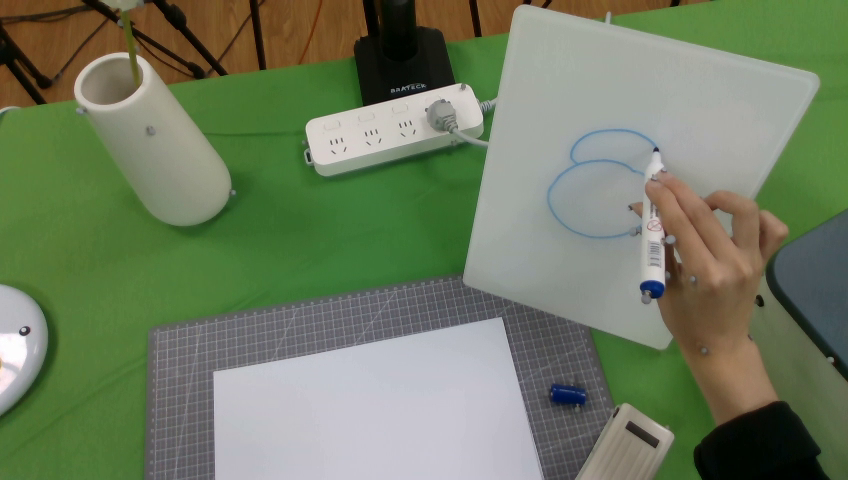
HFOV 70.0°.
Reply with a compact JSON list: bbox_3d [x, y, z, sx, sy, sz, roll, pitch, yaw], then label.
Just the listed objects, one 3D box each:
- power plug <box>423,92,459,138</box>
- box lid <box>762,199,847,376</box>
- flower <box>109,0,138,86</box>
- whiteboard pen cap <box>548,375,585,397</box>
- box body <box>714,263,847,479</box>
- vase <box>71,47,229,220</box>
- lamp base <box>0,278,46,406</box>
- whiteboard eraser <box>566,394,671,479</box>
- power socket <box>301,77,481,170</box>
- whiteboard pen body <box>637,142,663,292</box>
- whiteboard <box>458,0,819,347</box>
[{"bbox_3d":[0.018,-0.138,0.701,0.035,0.053,0.072,-5,69,-1],"label":"power plug"},{"bbox_3d":[0.460,0.095,0.438,0.263,0.015,0.368,-27,66,-10],"label":"box lid"},{"bbox_3d":[-0.258,-0.135,0.549,0.038,0.363,0.044,37,60,0],"label":"flower"},{"bbox_3d":[0.138,0.142,0.587,0.033,0.018,0.018,8,63,3],"label":"whiteboard pen cap"},{"bbox_3d":[0.464,0.131,0.504,0.254,0.161,0.361,-27,66,-11],"label":"box body"},{"bbox_3d":[-0.276,-0.102,0.624,0.098,0.201,0.097,-1,63,3],"label":"vase"},{"bbox_3d":[-0.485,0.072,0.554,0.178,0.182,0.160,20,65,15],"label":"lamp base"},{"bbox_3d":[0.170,0.199,0.544,0.055,0.042,0.112,32,69,17],"label":"whiteboard eraser"},{"bbox_3d":[-0.038,-0.141,0.729,0.227,0.033,0.071,-15,65,-6],"label":"power socket"},{"bbox_3d":[0.163,-0.023,0.434,0.017,0.017,0.139,11,54,8],"label":"whiteboard pen body"},{"bbox_3d":[0.176,-0.076,0.572,0.216,0.308,0.143,18,44,12],"label":"whiteboard"}]
